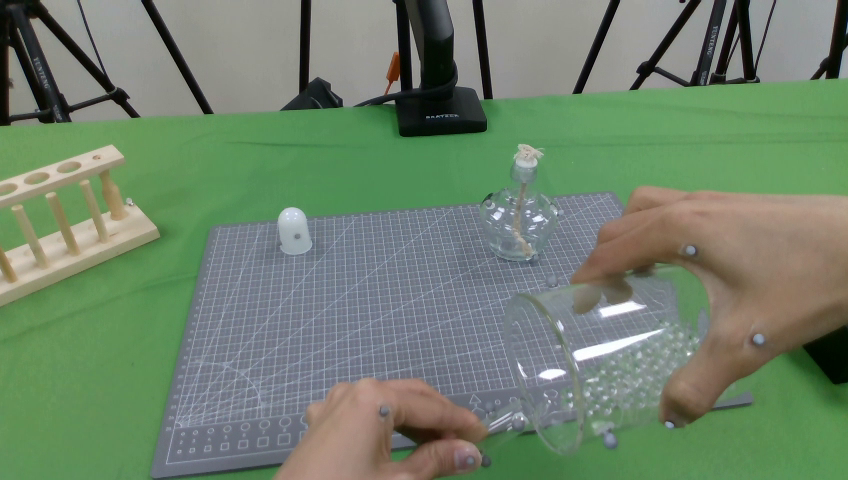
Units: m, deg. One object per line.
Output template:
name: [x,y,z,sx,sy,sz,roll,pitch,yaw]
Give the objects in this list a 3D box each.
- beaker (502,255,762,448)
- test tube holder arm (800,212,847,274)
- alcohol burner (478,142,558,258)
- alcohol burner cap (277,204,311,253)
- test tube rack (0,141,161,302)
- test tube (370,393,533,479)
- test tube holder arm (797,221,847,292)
beaker: [0.097,0.051,0.290,0.100,0.084,0.073,-11,52,-13]
test tube holder arm: [0.349,0.006,0.516,0.015,0.010,0.087,1,39,1]
alcohol burner: [0.092,-0.042,0.584,0.078,0.120,0.077,1,39,-1]
alcohol burner cap: [-0.133,-0.014,0.609,0.034,0.048,0.033,-1,38,1]
test tube rack: [-0.390,-0.004,0.569,0.242,0.086,0.066,-29,47,-31]
test tube: [-0.004,0.126,0.332,0.150,0.017,0.017,-37,34,20]
test tube holder arm: [0.347,0.038,0.485,0.015,0.013,0.176,1,38,1]
